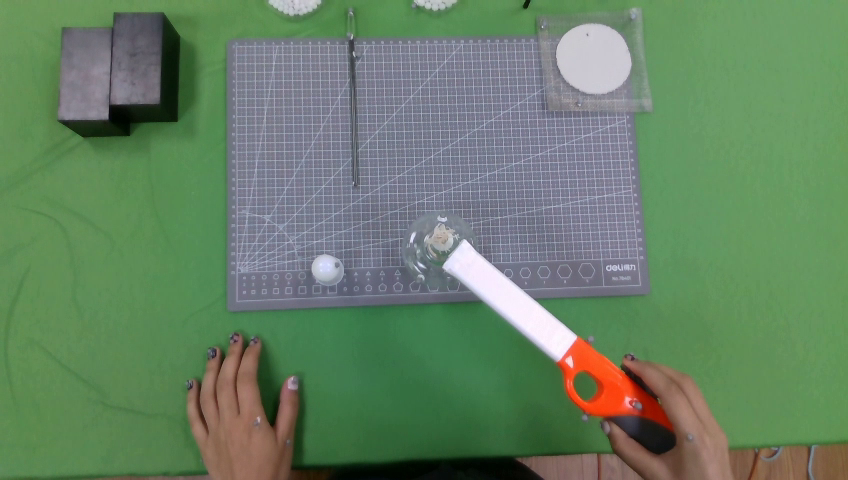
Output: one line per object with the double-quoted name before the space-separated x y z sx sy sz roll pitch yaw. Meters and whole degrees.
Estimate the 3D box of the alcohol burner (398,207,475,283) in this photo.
"alcohol burner" 0.013 0.003 0.596 0.078 0.119 0.077 0 83 -3

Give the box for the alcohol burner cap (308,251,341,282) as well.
"alcohol burner cap" -0.104 0.026 0.622 0.034 0.048 0.033 1 82 -4

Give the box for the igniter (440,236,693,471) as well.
"igniter" 0.126 0.098 0.521 0.277 0.025 0.057 41 82 -2

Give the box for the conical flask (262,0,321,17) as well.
"conical flask" -0.146 -0.294 0.627 0.075 0.122 0.075 1 81 -3

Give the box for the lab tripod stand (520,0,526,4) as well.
"lab tripod stand" 0.169 -0.329 0.645 0.148 0.131 0.148 0 83 -3

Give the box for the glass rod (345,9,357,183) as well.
"glass rod" -0.081 -0.160 0.665 0.008 0.008 0.199 -3 82 -4

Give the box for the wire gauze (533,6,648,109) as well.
"wire gauze" 0.191 -0.207 0.690 0.125 0.011 0.121 -3 82 -4

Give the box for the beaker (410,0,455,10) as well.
"beaker" 0.011 -0.305 0.650 0.074 0.100 0.083 0 81 -3
